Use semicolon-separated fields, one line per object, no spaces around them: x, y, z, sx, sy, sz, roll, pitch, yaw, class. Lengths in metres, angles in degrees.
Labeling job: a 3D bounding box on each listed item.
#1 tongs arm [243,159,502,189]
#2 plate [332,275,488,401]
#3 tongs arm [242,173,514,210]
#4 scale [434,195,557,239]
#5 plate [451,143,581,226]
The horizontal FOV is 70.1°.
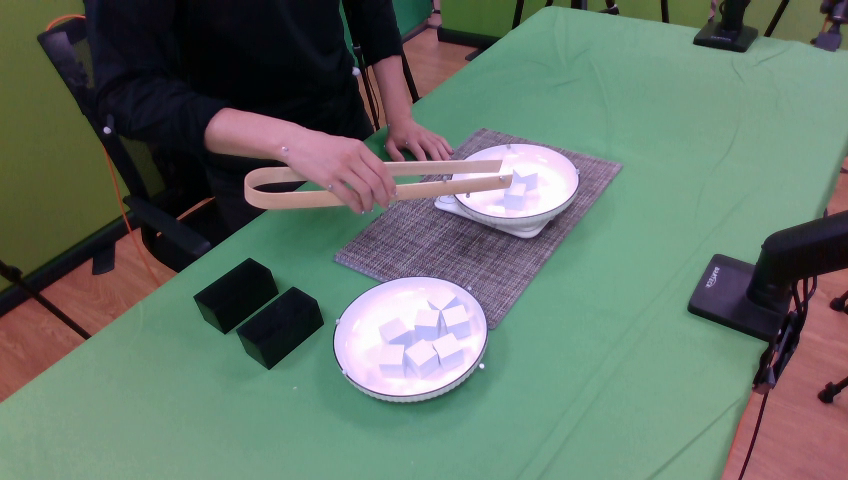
-0.059;-0.093;0.858;0.390;0.028;0.028;-6;48;-23;tongs arm
-0.017;0.131;0.808;0.207;0.039;0.206;-4;41;4;plate
-0.050;-0.076;0.840;0.387;0.026;0.050;-9;45;-25;tongs arm
0.132;-0.075;1.025;0.199;0.032;0.149;22;48;30;scale
0.148;-0.087;0.986;0.209;0.038;0.208;-4;41;4;plate
